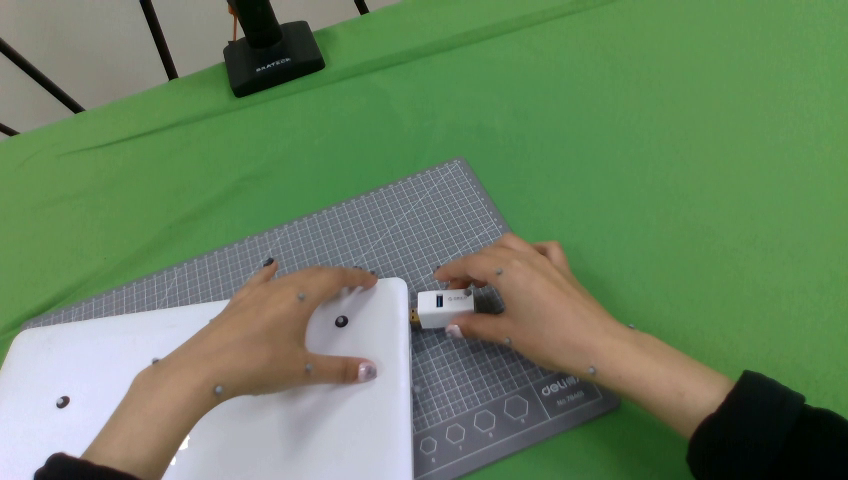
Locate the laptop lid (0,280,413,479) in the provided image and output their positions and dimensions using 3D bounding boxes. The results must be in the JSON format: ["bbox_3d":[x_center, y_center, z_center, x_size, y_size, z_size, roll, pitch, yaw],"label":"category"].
[{"bbox_3d":[-0.182,0.147,0.444,0.356,0.013,0.239,-7,52,7],"label":"laptop lid"}]

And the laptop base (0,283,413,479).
[{"bbox_3d":[-0.180,0.153,0.454,0.354,0.023,0.233,-8,53,6],"label":"laptop base"}]

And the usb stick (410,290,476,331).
[{"bbox_3d":[0.011,0.056,0.474,0.059,0.027,0.021,-8,51,10],"label":"usb stick"}]
